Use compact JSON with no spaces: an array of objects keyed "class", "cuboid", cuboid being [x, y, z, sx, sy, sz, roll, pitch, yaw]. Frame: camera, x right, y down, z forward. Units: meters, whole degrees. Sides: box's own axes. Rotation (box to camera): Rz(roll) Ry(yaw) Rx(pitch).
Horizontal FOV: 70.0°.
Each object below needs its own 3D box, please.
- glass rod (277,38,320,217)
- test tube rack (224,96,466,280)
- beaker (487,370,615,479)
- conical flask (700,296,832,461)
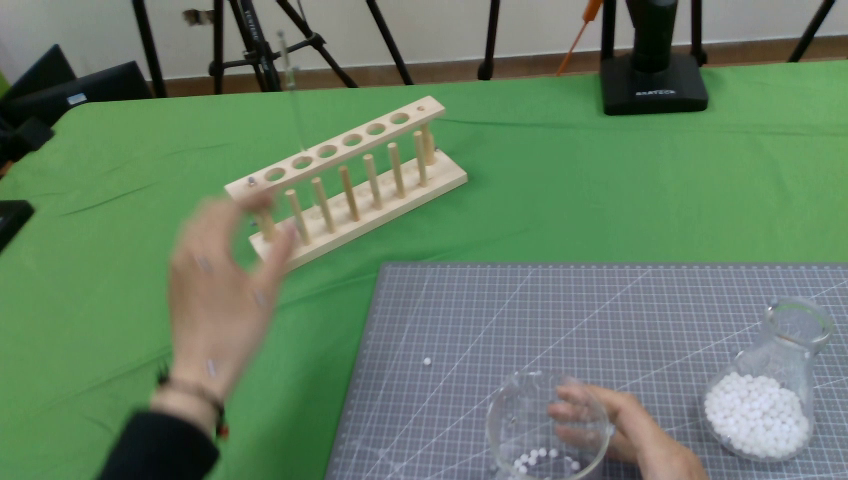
[{"class":"glass rod","cuboid":[-0.124,-0.105,0.612,0.008,0.201,0.008,-3,38,3]},{"class":"test tube rack","cuboid":[-0.077,-0.060,0.651,0.242,0.086,0.066,-28,47,-16]},{"class":"beaker","cuboid":[0.080,0.144,0.402,0.074,0.101,0.083,-22,45,-11]},{"class":"conical flask","cuboid":[0.236,0.090,0.408,0.075,0.123,0.074,-6,45,6]}]
